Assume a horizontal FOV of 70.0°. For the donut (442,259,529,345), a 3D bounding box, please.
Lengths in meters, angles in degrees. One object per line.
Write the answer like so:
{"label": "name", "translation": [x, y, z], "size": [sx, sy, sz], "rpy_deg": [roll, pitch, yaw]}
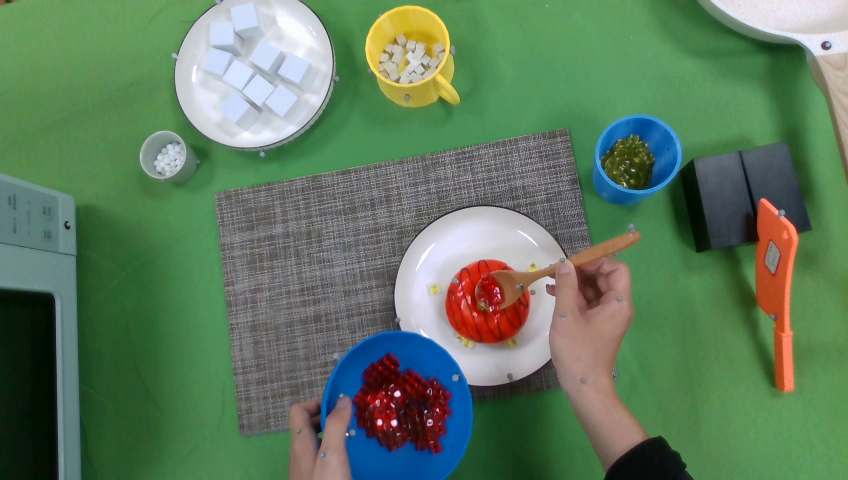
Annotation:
{"label": "donut", "translation": [0.069, 0.071, 0.686], "size": [0.099, 0.048, 0.099], "rpy_deg": [-1, 86, 7]}

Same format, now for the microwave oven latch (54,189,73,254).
{"label": "microwave oven latch", "translation": [-0.459, -0.022, 0.757], "size": [0.030, 0.029, 0.079], "rpy_deg": [-5, 83, 6]}

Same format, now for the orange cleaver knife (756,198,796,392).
{"label": "orange cleaver knife", "translation": [0.371, 0.061, 0.644], "size": [0.012, 0.076, 0.212], "rpy_deg": [-10, 110, 6]}

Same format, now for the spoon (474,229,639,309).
{"label": "spoon", "translation": [0.124, 0.030, 0.596], "size": [0.193, 0.022, 0.041], "rpy_deg": [-27, 85, 44]}

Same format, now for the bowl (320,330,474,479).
{"label": "bowl", "translation": [-0.036, 0.170, 0.596], "size": [0.152, 0.077, 0.150], "rpy_deg": [8, 70, -22]}

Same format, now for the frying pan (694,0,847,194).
{"label": "frying pan", "translation": [0.430, -0.256, 0.666], "size": [0.306, 0.103, 0.485], "rpy_deg": [-5, 74, 7]}

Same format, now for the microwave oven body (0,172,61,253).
{"label": "microwave oven body", "translation": [-0.600, 0.155, 0.653], "size": [0.326, 0.261, 0.440], "rpy_deg": [-7, 82, 5]}

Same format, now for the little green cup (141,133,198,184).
{"label": "little green cup", "translation": [-0.320, -0.100, 0.768], "size": [0.061, 0.039, 0.061], "rpy_deg": [-1, 83, 6]}

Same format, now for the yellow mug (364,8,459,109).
{"label": "yellow mug", "translation": [-0.006, -0.208, 0.732], "size": [0.130, 0.064, 0.100], "rpy_deg": [44, 89, 9]}

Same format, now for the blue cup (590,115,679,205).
{"label": "blue cup", "translation": [0.223, -0.080, 0.670], "size": [0.092, 0.100, 0.092], "rpy_deg": [-1, 81, 6]}

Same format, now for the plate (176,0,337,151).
{"label": "plate", "translation": [-0.209, -0.212, 0.771], "size": [0.207, 0.039, 0.207], "rpy_deg": [-1, 82, 7]}

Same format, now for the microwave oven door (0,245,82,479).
{"label": "microwave oven door", "translation": [-0.452, 0.180, 0.627], "size": [0.039, 0.245, 0.354], "rpy_deg": [-7, 82, 6]}

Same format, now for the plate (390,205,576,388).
{"label": "plate", "translation": [0.067, 0.064, 0.698], "size": [0.209, 0.038, 0.208], "rpy_deg": [-1, 83, 7]}
